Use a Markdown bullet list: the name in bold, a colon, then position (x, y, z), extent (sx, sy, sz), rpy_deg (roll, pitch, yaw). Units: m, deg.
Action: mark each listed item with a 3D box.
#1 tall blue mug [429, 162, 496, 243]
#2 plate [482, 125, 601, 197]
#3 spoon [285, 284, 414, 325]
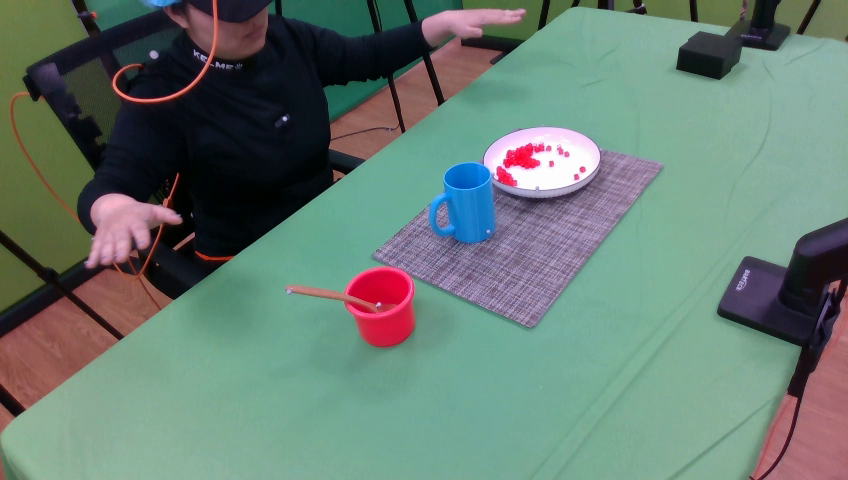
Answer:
- **tall blue mug**: position (0.066, -0.051, 0.960), extent (0.077, 0.108, 0.107), rpy_deg (17, 47, 27)
- **plate**: position (0.210, -0.138, 1.091), extent (0.207, 0.039, 0.206), rpy_deg (-5, 40, 5)
- **spoon**: position (-0.096, 0.083, 0.812), extent (0.195, 0.021, 0.041), rpy_deg (22, 31, -34)
